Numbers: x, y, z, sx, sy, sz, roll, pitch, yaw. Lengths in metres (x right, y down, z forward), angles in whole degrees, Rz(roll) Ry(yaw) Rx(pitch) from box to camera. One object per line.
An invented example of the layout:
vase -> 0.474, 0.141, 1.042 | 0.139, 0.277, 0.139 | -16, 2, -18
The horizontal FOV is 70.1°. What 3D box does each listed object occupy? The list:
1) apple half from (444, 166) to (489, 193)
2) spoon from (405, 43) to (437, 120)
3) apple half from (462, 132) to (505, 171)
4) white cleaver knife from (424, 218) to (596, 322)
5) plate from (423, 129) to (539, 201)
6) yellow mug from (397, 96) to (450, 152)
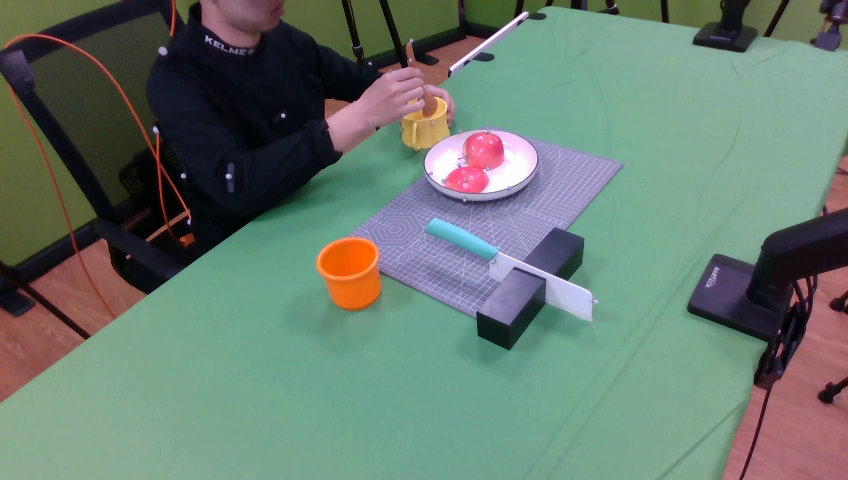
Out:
apple half -> 0.074, -0.112, 1.062 | 0.081, 0.033, 0.081 | -6, 39, 5
spoon -> -0.008, -0.287, 1.109 | 0.041, 0.195, 0.021 | -45, 57, -10
apple half -> 0.109, -0.170, 1.110 | 0.075, 0.053, 0.080 | -6, 40, -2
white cleaver knife -> 0.114, 0.042, 0.865 | 0.284, 0.066, 0.021 | 27, 47, 28
plate -> 0.103, -0.132, 1.092 | 0.209, 0.038, 0.208 | -4, 40, 4
yellow mug -> -0.004, -0.226, 1.201 | 0.099, 0.064, 0.130 | 5, 43, 16
